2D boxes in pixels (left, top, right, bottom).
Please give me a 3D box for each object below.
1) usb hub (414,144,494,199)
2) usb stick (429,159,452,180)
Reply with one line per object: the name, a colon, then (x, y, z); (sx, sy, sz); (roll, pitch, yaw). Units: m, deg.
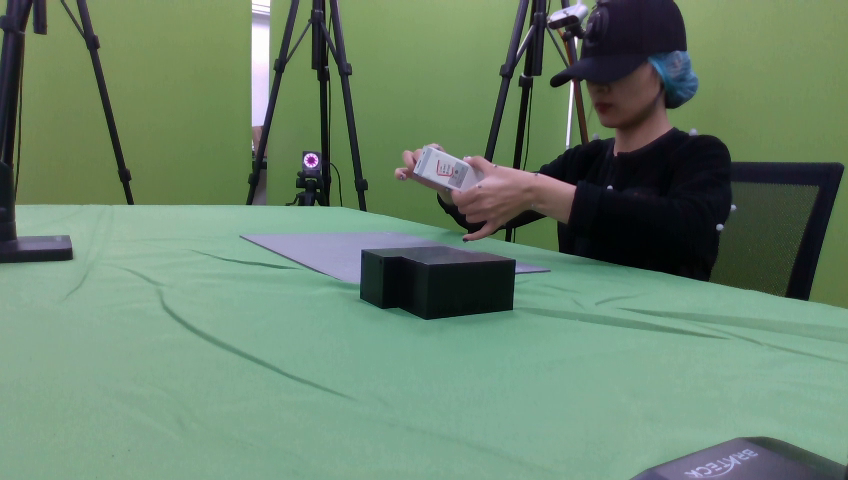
usb hub: (0.049, -0.110, 0.971); (0.126, 0.049, 0.025); (19, 6, -25)
usb stick: (0.029, -0.115, 0.995); (0.021, 0.027, 0.059); (20, 10, -19)
